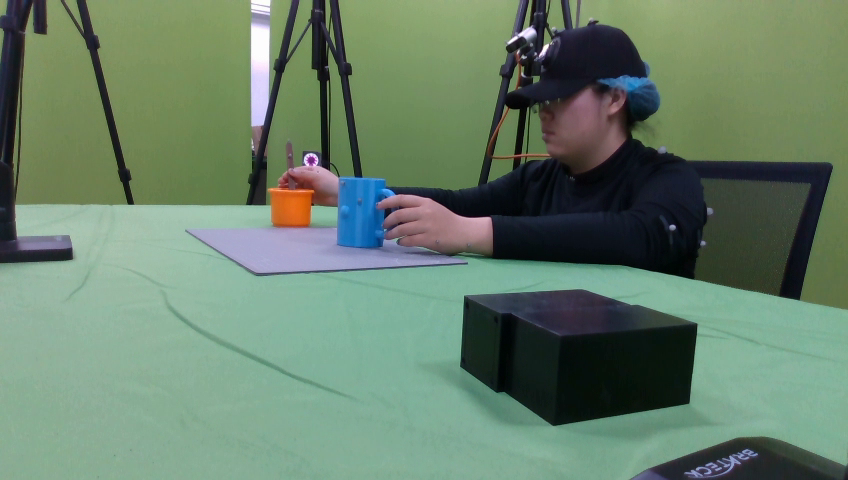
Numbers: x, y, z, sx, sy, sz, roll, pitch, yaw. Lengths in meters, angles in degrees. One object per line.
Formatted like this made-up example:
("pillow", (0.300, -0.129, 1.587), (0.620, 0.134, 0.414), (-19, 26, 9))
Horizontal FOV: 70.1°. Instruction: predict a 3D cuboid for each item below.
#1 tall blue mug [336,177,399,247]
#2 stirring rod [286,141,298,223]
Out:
("tall blue mug", (-0.086, -0.045, 0.970), (0.107, 0.108, 0.078), (4, 7, 9))
("stirring rod", (-0.269, -0.119, 1.228), (0.006, 0.175, 0.014), (-19, -19, 38))
